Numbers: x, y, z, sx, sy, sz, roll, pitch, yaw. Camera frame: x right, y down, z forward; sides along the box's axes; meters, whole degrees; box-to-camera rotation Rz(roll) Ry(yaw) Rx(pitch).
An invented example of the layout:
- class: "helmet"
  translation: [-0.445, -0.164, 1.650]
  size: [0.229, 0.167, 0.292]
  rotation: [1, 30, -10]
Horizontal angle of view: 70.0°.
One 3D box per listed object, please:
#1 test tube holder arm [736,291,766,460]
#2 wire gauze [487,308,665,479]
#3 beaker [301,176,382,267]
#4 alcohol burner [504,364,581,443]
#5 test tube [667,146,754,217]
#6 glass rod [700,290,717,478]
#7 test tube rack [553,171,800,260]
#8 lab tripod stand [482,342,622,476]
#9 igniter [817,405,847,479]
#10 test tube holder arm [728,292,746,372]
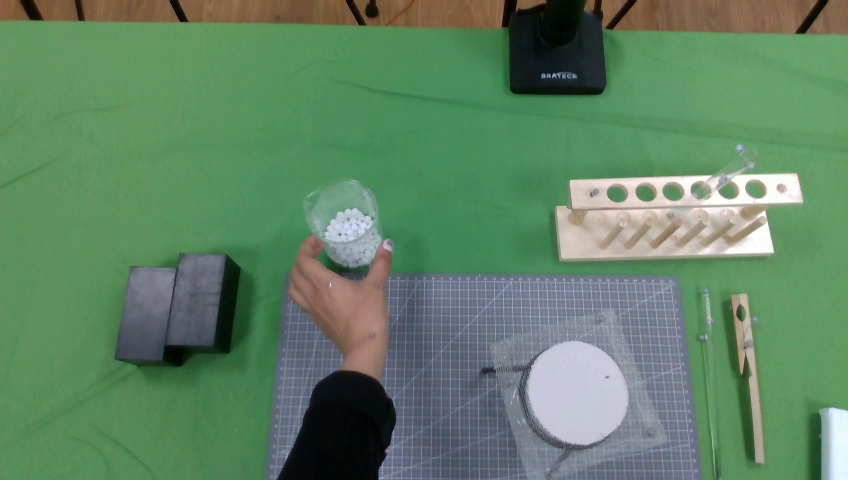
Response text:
- class: "test tube holder arm"
  translation: [0.351, 0.143, 0.651]
  size: [0.013, 0.015, 0.177]
  rotation: [-11, 69, 32]
- class: "wire gauze"
  translation: [0.128, 0.131, 0.523]
  size: [0.121, 0.011, 0.124]
  rotation: [-15, 72, -4]
- class: "beaker"
  translation: [-0.087, -0.016, 0.665]
  size: [0.084, 0.101, 0.073]
  rotation: [18, 72, 7]
- class: "alcohol burner"
  translation: [0.119, 0.159, 0.595]
  size: [0.078, 0.120, 0.077]
  rotation: [0, 69, 1]
- class: "test tube"
  translation: [0.293, -0.057, 0.632]
  size: [0.017, 0.151, 0.017]
  rotation: [2, 71, -5]
- class: "glass rod"
  translation: [0.308, 0.152, 0.656]
  size: [0.008, 0.008, 0.198]
  rotation: [4, 75, 1]
- class: "test tube rack"
  translation: [0.275, -0.025, 0.674]
  size: [0.242, 0.085, 0.066]
  rotation: [-2, 71, 0]
- class: "lab tripod stand"
  translation: [0.124, 0.154, 0.587]
  size: [0.148, 0.132, 0.147]
  rotation: [-1, 72, 2]
- class: "igniter"
  translation: [0.403, 0.303, 0.595]
  size: [0.057, 0.025, 0.275]
  rotation: [14, 72, -5]
- class: "test tube holder arm"
  translation: [0.346, 0.101, 0.668]
  size: [0.010, 0.015, 0.087]
  rotation: [-11, 69, 32]
